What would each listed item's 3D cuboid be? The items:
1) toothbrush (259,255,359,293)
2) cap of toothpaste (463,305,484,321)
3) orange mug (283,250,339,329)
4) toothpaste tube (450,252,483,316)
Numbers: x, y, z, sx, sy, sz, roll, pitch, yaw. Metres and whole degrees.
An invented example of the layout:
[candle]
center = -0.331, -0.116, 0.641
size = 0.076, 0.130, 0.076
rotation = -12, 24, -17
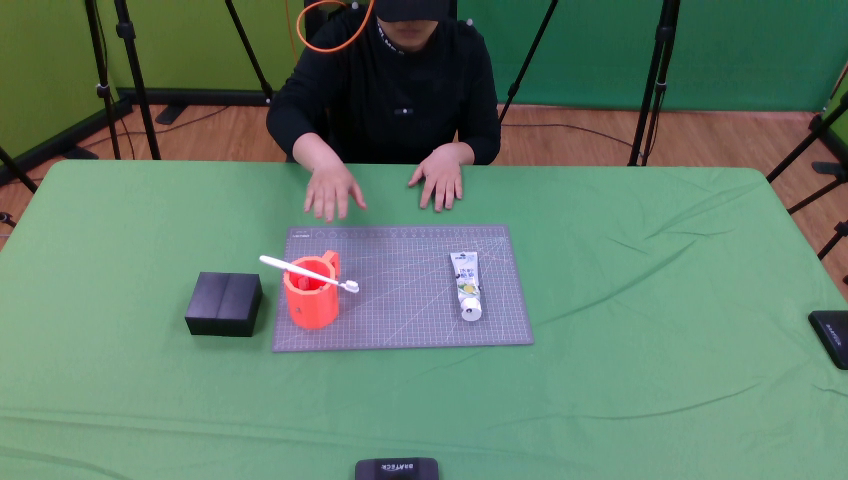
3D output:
[toothbrush]
center = -0.192, 0.054, 1.002
size = 0.181, 0.017, 0.014
rotation = 17, 53, 12
[cap of toothpaste]
center = 0.087, 0.128, 1.064
size = 0.037, 0.037, 0.011
rotation = 2, 39, -1
[orange mug]
center = -0.186, 0.078, 1.052
size = 0.083, 0.101, 0.126
rotation = 20, 52, 14
[toothpaste tube]
center = 0.084, 0.077, 1.122
size = 0.055, 0.035, 0.164
rotation = 3, 41, -8
